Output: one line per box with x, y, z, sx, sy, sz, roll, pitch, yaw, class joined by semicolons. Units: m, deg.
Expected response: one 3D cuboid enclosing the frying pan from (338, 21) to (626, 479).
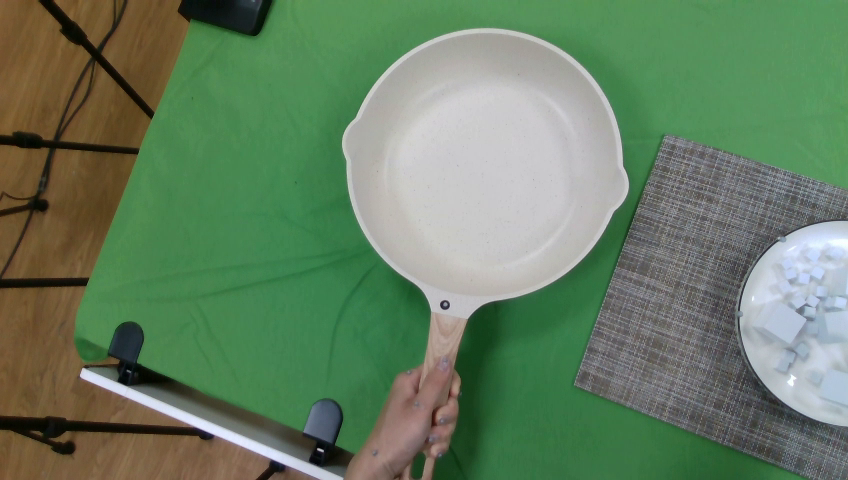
0.037;0.013;0.649;0.306;0.103;0.486;12;80;7;frying pan

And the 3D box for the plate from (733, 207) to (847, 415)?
0.423;0.071;0.619;0.207;0.039;0.207;-1;84;9;plate
